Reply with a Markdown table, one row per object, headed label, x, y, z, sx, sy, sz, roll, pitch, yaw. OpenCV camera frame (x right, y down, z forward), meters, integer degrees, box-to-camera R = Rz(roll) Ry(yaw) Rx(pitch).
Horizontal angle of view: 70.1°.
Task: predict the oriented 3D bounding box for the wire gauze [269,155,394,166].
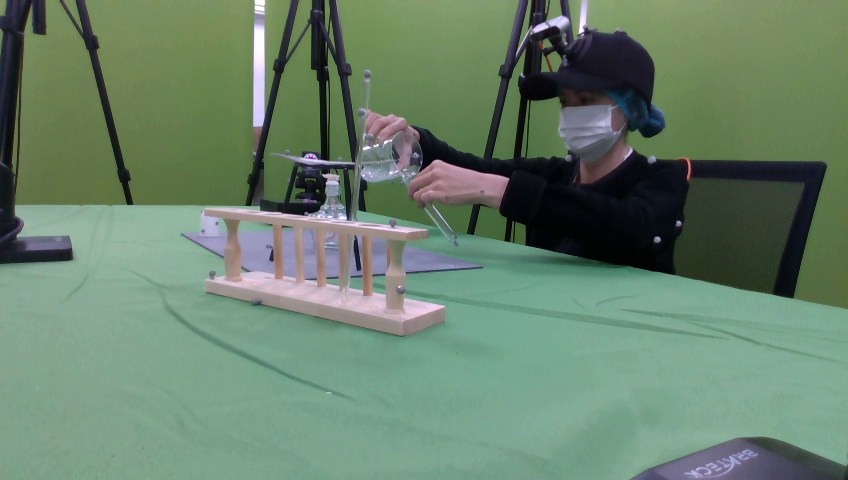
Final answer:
| label | x | y | z | sx | sy | sz | roll | pitch | yaw |
| --- | --- | --- | --- | --- | --- | --- | --- | --- | --- |
| wire gauze | -0.121 | -0.102 | 0.785 | 0.122 | 0.011 | 0.124 | -3 | 10 | -39 |

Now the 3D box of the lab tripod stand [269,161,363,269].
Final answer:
| label | x | y | z | sx | sy | sz | roll | pitch | yaw |
| --- | --- | --- | --- | --- | --- | --- | --- | --- | --- |
| lab tripod stand | -0.125 | -0.036 | 0.794 | 0.148 | 0.131 | 0.148 | 5 | 7 | 0 |

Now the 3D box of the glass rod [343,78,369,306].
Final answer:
| label | x | y | z | sx | sy | sz | roll | pitch | yaw |
| --- | --- | --- | --- | --- | --- | --- | --- | --- | --- |
| glass rod | -0.059 | -0.038 | 0.522 | 0.008 | 0.199 | 0.008 | 6 | 5 | 0 |

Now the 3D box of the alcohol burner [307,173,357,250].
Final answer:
| label | x | y | z | sx | sy | sz | roll | pitch | yaw |
| --- | --- | --- | --- | --- | --- | --- | --- | --- | --- |
| alcohol burner | -0.144 | -0.045 | 0.940 | 0.078 | 0.119 | 0.078 | 1 | 8 | 0 |

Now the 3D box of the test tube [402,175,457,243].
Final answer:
| label | x | y | z | sx | sy | sz | roll | pitch | yaw |
| --- | --- | --- | --- | --- | --- | --- | --- | --- | --- |
| test tube | 0.008 | -0.051 | 0.961 | 0.017 | 0.017 | 0.149 | -5 | 49 | -44 |

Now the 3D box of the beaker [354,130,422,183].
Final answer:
| label | x | y | z | sx | sy | sz | roll | pitch | yaw |
| --- | --- | --- | --- | --- | --- | --- | --- | --- | --- |
| beaker | -0.064 | -0.136 | 1.031 | 0.100 | 0.084 | 0.074 | -7 | -8 | 44 |

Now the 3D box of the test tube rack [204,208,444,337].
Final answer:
| label | x | y | z | sx | sy | sz | roll | pitch | yaw |
| --- | --- | --- | --- | --- | --- | --- | --- | --- | --- |
| test tube rack | -0.100 | 0.021 | 0.565 | 0.241 | 0.085 | 0.067 | 7 | 9 | 32 |

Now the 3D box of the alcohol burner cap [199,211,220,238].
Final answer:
| label | x | y | z | sx | sy | sz | roll | pitch | yaw |
| --- | --- | --- | --- | --- | --- | --- | --- | --- | --- |
| alcohol burner cap | -0.356 | -0.027 | 1.002 | 0.034 | 0.048 | 0.034 | 2 | 7 | 0 |
